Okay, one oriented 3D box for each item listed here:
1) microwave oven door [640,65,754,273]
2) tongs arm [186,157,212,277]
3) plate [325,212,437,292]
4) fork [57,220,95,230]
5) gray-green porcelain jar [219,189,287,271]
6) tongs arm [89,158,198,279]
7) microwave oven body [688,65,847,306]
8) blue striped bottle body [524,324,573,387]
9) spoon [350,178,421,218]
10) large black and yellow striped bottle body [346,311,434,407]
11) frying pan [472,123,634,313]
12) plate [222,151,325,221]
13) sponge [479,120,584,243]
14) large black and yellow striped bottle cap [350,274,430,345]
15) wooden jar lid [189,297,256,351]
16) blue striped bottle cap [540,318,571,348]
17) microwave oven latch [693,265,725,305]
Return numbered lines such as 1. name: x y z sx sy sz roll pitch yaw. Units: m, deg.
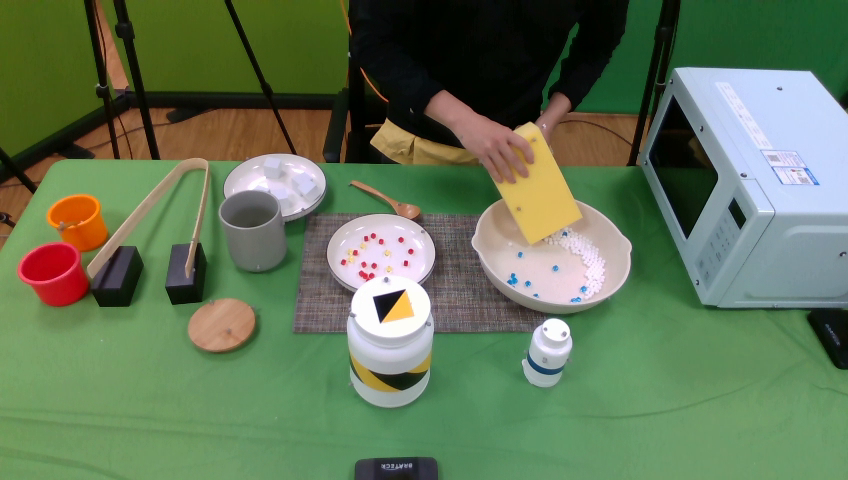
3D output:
1. microwave oven door: 0.523 -0.147 1.193 0.039 0.245 0.353 0 47 -3
2. tongs arm: -0.445 -0.058 1.168 0.051 0.026 0.382 -5 37 -6
3. plate: -0.080 0.030 1.143 0.209 0.038 0.208 3 46 -3
4. fork: -0.624 -0.027 1.087 0.028 0.207 0.018 -3 92 -17
5. gray-green porcelain jar: -0.310 -0.014 1.113 0.106 0.127 0.105 2 46 -2
6. tongs arm: -0.529 -0.057 1.164 0.028 0.028 0.385 1 36 8
7. microwave oven body: 0.669 -0.111 1.176 0.326 0.261 0.439 0 46 -3
8. blue striped bottle body: 0.200 0.178 0.970 0.063 0.121 0.062 2 46 -1
9. spoon: -0.084 -0.092 1.272 0.193 0.022 0.041 31 69 25
10. large black and yellow striped bottle body: -0.052 0.157 0.929 0.131 0.185 0.130 2 47 -2
11. frying pan: 0.235 -0.060 1.207 0.307 0.103 0.484 2 54 -6
12. plate: -0.310 -0.106 1.262 0.208 0.039 0.206 2 47 -2
13. sponge: 0.208 -0.111 1.171 0.118 0.207 0.060 -30 21 7
14. large black and yellow striped bottle cap: -0.048 0.097 0.867 0.115 0.019 0.114 3 48 -3
15. wooden jar lid: -0.342 0.145 1.033 0.108 0.021 0.107 2 45 -2
16. blue striped bottle cap: 0.203 0.142 0.933 0.044 0.021 0.044 3 49 -3
17. microwave oven latch: 0.523 0.082 1.116 0.030 0.029 0.078 2 46 -1
